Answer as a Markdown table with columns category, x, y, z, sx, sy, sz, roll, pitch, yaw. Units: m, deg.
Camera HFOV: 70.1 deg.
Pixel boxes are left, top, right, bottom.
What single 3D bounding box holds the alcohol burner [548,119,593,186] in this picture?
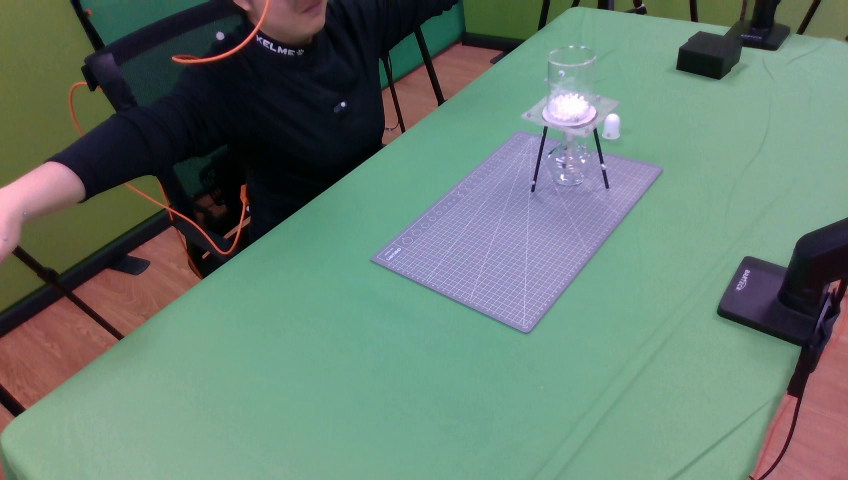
| category | x | y | z | sx | sy | sz | roll | pitch | yaw |
| --- | --- | --- | --- | --- | --- | --- | --- | --- | --- |
| alcohol burner | 0.252 | -0.154 | 1.042 | 0.078 | 0.120 | 0.077 | -7 | 40 | 7 |

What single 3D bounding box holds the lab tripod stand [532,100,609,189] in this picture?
| category | x | y | z | sx | sy | sz | roll | pitch | yaw |
| --- | --- | --- | --- | --- | --- | --- | --- | --- | --- |
| lab tripod stand | 0.251 | -0.161 | 1.034 | 0.148 | 0.132 | 0.147 | -4 | 39 | 4 |

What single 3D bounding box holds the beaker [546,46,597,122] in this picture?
| category | x | y | z | sx | sy | sz | roll | pitch | yaw |
| --- | --- | --- | --- | --- | --- | --- | --- | --- | --- |
| beaker | 0.229 | -0.246 | 0.962 | 0.083 | 0.101 | 0.074 | 25 | 49 | 34 |

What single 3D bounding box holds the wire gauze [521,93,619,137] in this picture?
| category | x | y | z | sx | sy | sz | roll | pitch | yaw |
| --- | --- | --- | --- | --- | --- | --- | --- | --- | --- |
| wire gauze | 0.240 | -0.212 | 0.995 | 0.124 | 0.011 | 0.122 | 22 | 46 | 34 |

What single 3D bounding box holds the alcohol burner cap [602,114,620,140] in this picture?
| category | x | y | z | sx | sy | sz | roll | pitch | yaw |
| --- | --- | --- | --- | --- | --- | --- | --- | --- | --- |
| alcohol burner cap | 0.359 | -0.217 | 1.157 | 0.034 | 0.048 | 0.033 | -6 | 39 | 6 |
